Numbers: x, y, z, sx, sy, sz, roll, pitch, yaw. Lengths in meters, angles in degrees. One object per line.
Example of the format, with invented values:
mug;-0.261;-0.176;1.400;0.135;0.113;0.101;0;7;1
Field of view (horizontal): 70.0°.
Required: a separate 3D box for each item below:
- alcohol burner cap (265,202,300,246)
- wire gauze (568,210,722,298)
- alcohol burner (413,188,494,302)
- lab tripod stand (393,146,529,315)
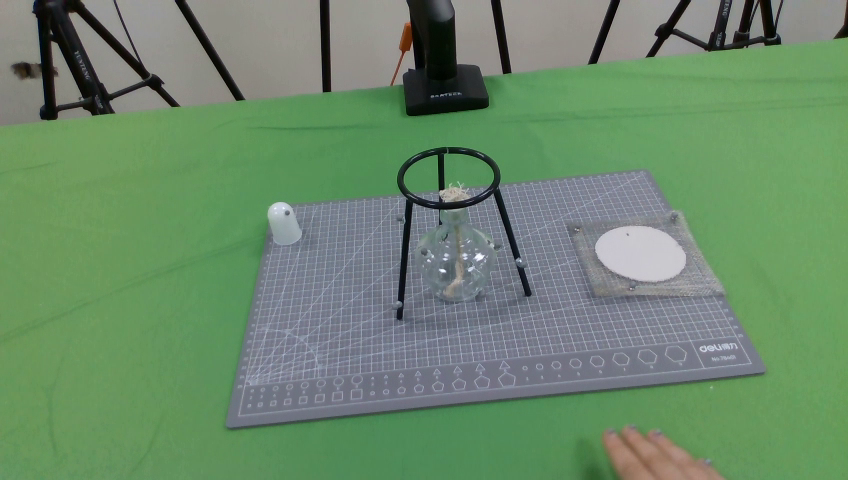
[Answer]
alcohol burner cap;-0.156;-0.020;0.664;0.034;0.048;0.033;-2;42;2
wire gauze;0.218;0.014;0.611;0.125;0.011;0.120;-2;42;1
alcohol burner;0.027;0.000;0.566;0.078;0.120;0.077;-2;41;2
lab tripod stand;0.028;-0.009;0.562;0.148;0.133;0.147;-2;40;2
